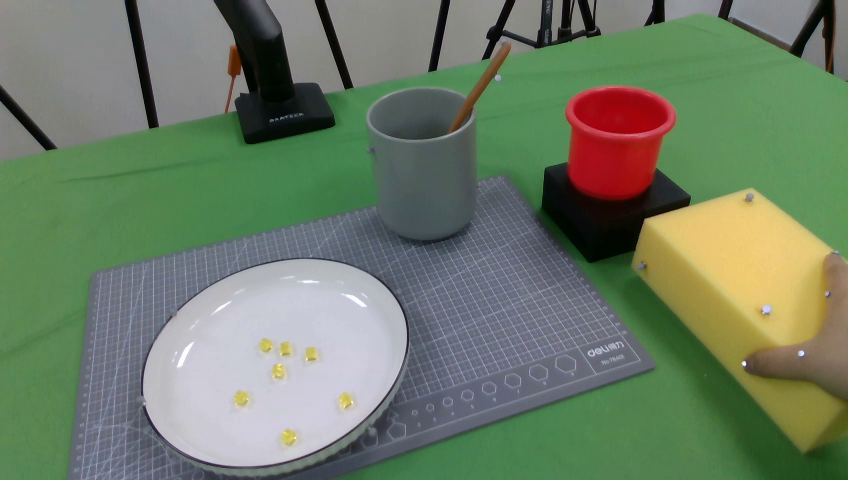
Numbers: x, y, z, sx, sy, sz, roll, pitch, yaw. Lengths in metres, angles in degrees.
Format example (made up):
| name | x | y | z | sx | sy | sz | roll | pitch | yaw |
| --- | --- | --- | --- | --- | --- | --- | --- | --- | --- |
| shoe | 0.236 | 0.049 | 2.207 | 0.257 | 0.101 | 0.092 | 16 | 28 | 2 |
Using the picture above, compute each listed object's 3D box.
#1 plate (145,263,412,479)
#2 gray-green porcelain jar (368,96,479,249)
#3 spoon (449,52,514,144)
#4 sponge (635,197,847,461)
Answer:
| name | x | y | z | sx | sy | sz | roll | pitch | yaw |
| --- | --- | --- | --- | --- | --- | --- | --- | --- | --- |
| plate | -0.112 | 0.101 | 0.491 | 0.207 | 0.039 | 0.205 | -2 | 40 | 2 |
| gray-green porcelain jar | 0.003 | -0.063 | 0.608 | 0.106 | 0.127 | 0.105 | -3 | 40 | 3 |
| spoon | 0.032 | -0.093 | 0.582 | 0.022 | 0.194 | 0.041 | 18 | 31 | -17 |
| sponge | 0.286 | 0.057 | 0.488 | 0.118 | 0.061 | 0.204 | -16 | 43 | -16 |
